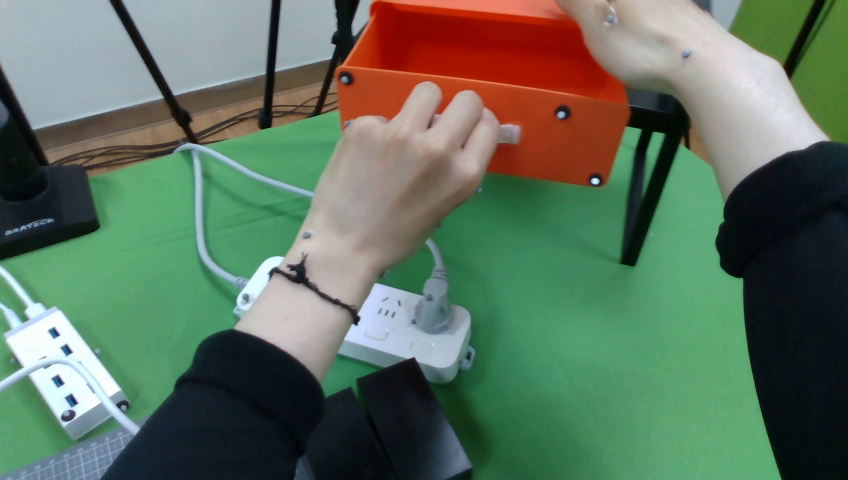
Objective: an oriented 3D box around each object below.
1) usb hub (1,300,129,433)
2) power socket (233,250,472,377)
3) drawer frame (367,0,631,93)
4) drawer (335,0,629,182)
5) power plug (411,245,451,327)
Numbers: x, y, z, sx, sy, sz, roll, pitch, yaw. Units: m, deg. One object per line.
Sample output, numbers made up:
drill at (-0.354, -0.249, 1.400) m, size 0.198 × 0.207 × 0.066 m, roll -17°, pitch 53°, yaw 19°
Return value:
usb hub at (-0.306, 0.103, 0.513) m, size 0.124 × 0.025 × 0.049 m, roll 35°, pitch 55°, yaw 28°
power socket at (-0.066, 0.064, 0.554) m, size 0.226 × 0.033 × 0.072 m, roll 14°, pitch 47°, yaw 12°
drawer frame at (0.071, -0.221, 0.550) m, size 0.201 × 0.083 × 0.211 m, roll 7°, pitch 46°, yaw 5°
drawer at (0.054, -0.148, 0.482) m, size 0.194 × 0.074 × 0.210 m, roll 9°, pitch 46°, yaw 6°
power plug at (0.015, 0.048, 0.543) m, size 0.035 × 0.053 × 0.072 m, roll 22°, pitch 51°, yaw 20°
